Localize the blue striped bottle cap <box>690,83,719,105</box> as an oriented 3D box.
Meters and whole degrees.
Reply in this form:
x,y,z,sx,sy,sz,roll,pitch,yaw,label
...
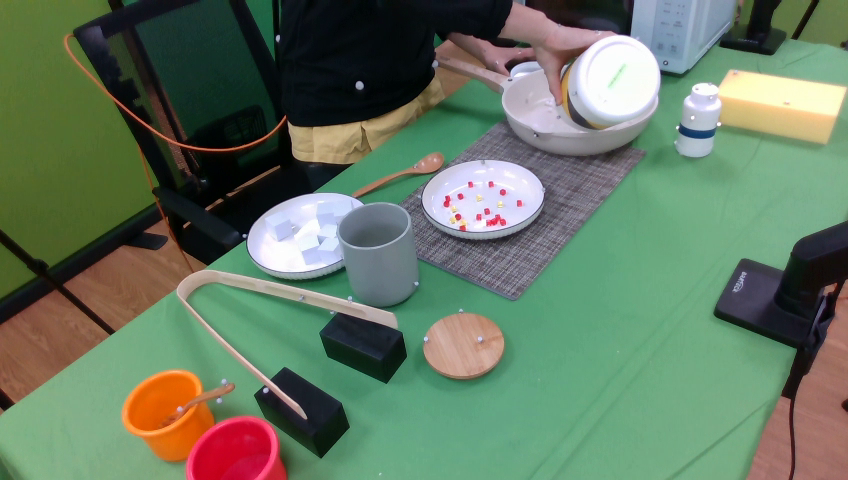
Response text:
x,y,z,sx,sy,sz,roll,pitch,yaw,label
0.481,-0.251,1.038,0.044,0.021,0.044,-5,40,4,blue striped bottle cap

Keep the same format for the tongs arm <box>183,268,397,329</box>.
x,y,z,sx,sy,sz,roll,pitch,yaw,label
-0.203,0.084,0.847,0.382,0.027,0.051,11,44,34,tongs arm

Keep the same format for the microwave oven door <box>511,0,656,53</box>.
x,y,z,sx,sy,sz,roll,pitch,yaw,label
0.351,-0.539,1.349,0.353,0.245,0.039,24,50,31,microwave oven door

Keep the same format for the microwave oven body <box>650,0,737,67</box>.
x,y,z,sx,sy,sz,roll,pitch,yaw,label
0.475,-0.602,1.411,0.438,0.261,0.327,23,50,32,microwave oven body

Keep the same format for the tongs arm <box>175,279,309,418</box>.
x,y,z,sx,sy,sz,roll,pitch,yaw,label
-0.255,0.132,0.800,0.028,0.028,0.384,-41,40,-23,tongs arm

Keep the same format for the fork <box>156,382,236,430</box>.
x,y,z,sx,sy,sz,roll,pitch,yaw,label
-0.262,0.189,0.690,0.018,0.206,0.028,48,43,-7,fork

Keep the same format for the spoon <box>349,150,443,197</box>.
x,y,z,sx,sy,sz,roll,pitch,yaw,label
-0.051,-0.122,1.120,0.194,0.022,0.041,-23,60,-18,spoon

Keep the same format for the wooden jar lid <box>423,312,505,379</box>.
x,y,z,sx,sy,sz,roll,pitch,yaw,label
0.053,0.142,0.800,0.108,0.021,0.108,-5,39,4,wooden jar lid

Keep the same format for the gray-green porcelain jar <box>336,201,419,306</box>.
x,y,z,sx,sy,sz,roll,pitch,yaw,label
-0.064,0.024,0.872,0.106,0.127,0.105,-4,41,4,gray-green porcelain jar

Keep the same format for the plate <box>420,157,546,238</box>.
x,y,z,sx,sy,sz,roll,pitch,yaw,label
0.099,-0.067,1.017,0.209,0.038,0.208,-4,40,4,plate

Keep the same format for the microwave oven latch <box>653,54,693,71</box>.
x,y,z,sx,sy,sz,roll,pitch,yaw,label
0.531,-0.386,1.301,0.078,0.029,0.030,26,51,33,microwave oven latch

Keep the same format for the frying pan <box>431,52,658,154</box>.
x,y,z,sx,sy,sz,roll,pitch,yaw,label
0.216,-0.302,1.223,0.484,0.103,0.308,29,49,24,frying pan

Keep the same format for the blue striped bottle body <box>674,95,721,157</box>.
x,y,z,sx,sy,sz,roll,pitch,yaw,label
0.486,-0.213,1.072,0.063,0.121,0.063,-4,41,4,blue striped bottle body

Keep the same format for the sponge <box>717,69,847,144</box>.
x,y,z,sx,sy,sz,roll,pitch,yaw,label
0.663,-0.256,1.141,0.205,0.061,0.118,19,47,27,sponge

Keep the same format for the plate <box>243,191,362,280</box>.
x,y,z,sx,sy,sz,roll,pitch,yaw,label
-0.187,-0.005,0.992,0.207,0.039,0.206,-4,40,4,plate

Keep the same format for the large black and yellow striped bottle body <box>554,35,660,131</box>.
x,y,z,sx,sy,sz,roll,pitch,yaw,label
0.292,-0.251,1.003,0.131,0.130,0.183,-10,4,-3,large black and yellow striped bottle body
